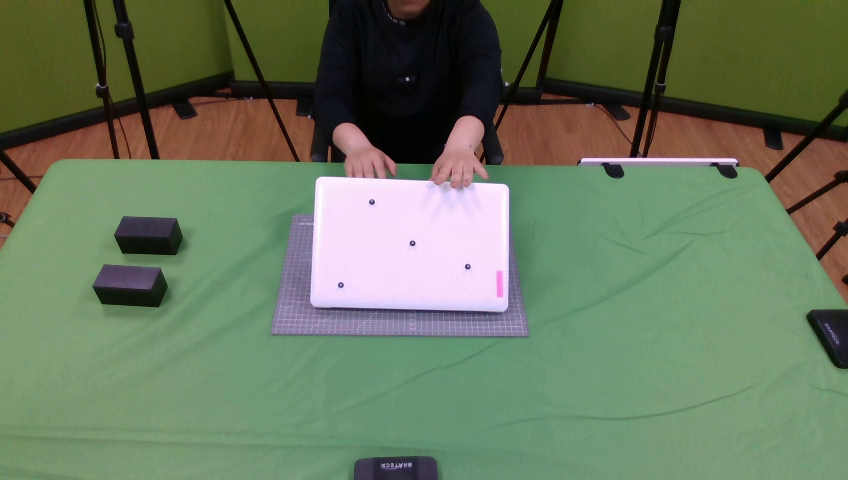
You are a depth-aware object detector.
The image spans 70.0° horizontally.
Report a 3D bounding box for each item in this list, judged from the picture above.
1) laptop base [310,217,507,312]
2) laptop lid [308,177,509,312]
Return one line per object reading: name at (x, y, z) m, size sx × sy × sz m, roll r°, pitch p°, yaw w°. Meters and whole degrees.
laptop base at (-0.028, 0.045, 1.154) m, size 0.354 × 0.023 × 0.234 m, roll 2°, pitch 43°, yaw -3°
laptop lid at (-0.023, 0.006, 1.076) m, size 0.357 × 0.013 × 0.241 m, roll 3°, pitch 82°, yaw -3°
